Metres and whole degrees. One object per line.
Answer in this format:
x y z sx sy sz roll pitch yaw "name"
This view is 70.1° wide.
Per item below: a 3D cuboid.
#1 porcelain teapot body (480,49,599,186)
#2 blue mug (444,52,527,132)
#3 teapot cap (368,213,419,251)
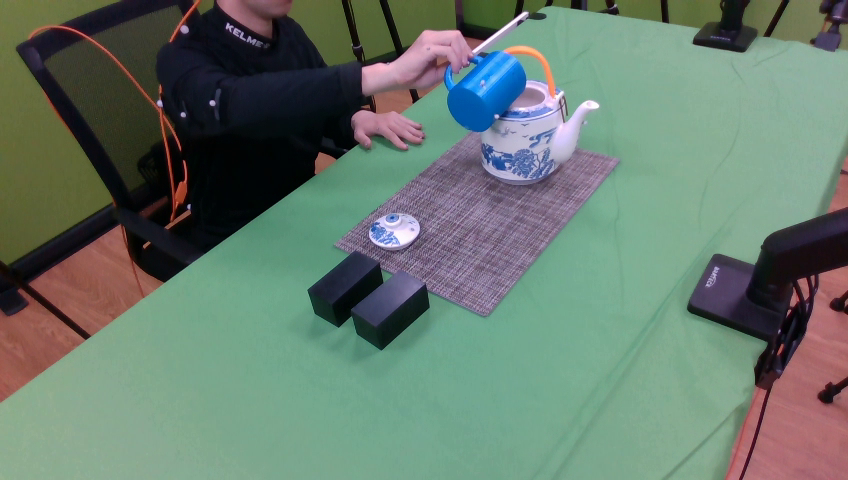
0.193 -0.208 1.024 0.204 0.226 0.145 16 46 25 "porcelain teapot body"
0.086 -0.242 0.944 0.116 0.082 0.106 40 62 4 "blue mug"
-0.050 -0.019 0.975 0.085 0.044 0.084 -4 43 4 "teapot cap"
